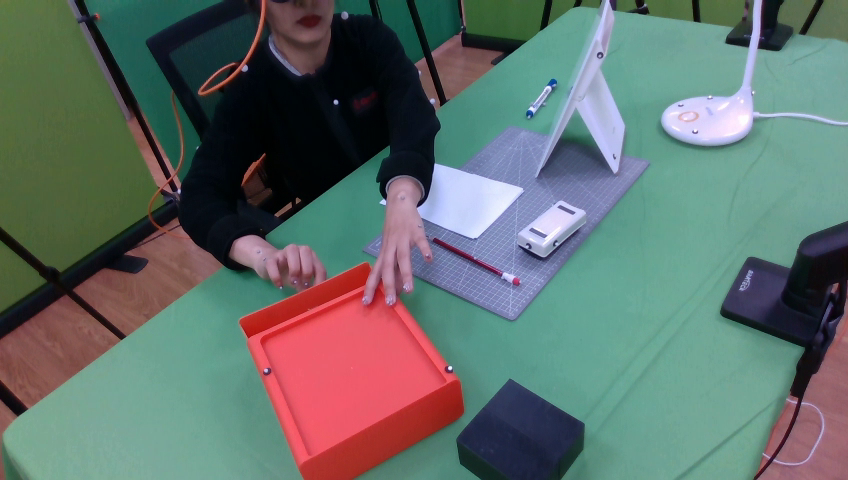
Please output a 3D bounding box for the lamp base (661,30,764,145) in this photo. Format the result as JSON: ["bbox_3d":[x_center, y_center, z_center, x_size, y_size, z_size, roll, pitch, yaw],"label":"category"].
[{"bbox_3d":[0.535,-0.287,1.096,0.179,0.181,0.159,-10,40,-4],"label":"lamp base"}]

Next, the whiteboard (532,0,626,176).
[{"bbox_3d":[0.321,-0.258,1.049,0.144,0.306,0.217,21,45,5],"label":"whiteboard"}]

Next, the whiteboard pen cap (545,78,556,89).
[{"bbox_3d":[0.280,-0.344,1.335,0.018,0.018,0.033,15,45,26],"label":"whiteboard pen cap"}]

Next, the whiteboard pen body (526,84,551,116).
[{"bbox_3d":[0.251,-0.305,1.298,0.017,0.017,0.141,15,45,26],"label":"whiteboard pen body"}]

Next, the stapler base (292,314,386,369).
[{"bbox_3d":[-0.118,0.135,0.839,0.131,0.024,0.041,-20,55,-13],"label":"stapler base"}]

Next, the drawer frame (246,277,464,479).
[{"bbox_3d":[-0.090,0.168,0.754,0.202,0.083,0.211,-24,43,-18],"label":"drawer frame"}]

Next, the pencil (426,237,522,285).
[{"bbox_3d":[0.072,0.029,0.941,0.192,0.012,0.012,26,52,37],"label":"pencil"}]

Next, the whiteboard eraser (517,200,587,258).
[{"bbox_3d":[0.200,-0.016,0.943,0.113,0.042,0.055,-37,46,-29],"label":"whiteboard eraser"}]

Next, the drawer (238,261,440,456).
[{"bbox_3d":[-0.112,0.145,0.786,0.195,0.073,0.210,-24,43,-18],"label":"drawer"}]

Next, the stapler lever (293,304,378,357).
[{"bbox_3d":[-0.120,0.121,0.817,0.118,0.040,0.026,-20,55,-11],"label":"stapler lever"}]
